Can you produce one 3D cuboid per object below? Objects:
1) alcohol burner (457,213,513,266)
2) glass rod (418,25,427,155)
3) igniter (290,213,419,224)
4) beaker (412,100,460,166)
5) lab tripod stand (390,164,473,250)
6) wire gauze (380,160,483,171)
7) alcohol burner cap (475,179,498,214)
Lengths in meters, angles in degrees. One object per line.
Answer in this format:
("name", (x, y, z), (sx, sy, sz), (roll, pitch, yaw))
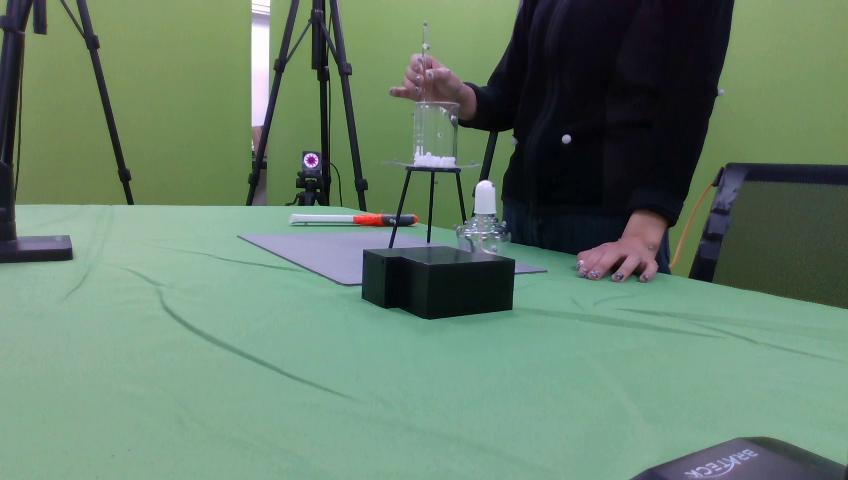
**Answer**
("alcohol burner", (0.084, -0.025, 0.837), (0.078, 0.119, 0.078), (0, 8, 0))
("glass rod", (-0.002, -0.233, 0.943), (0.008, 0.199, 0.008), (2, 5, 0))
("igniter", (-0.143, -0.046, 1.288), (0.278, 0.025, 0.057), (-1, -3, -24))
("beaker", (0.020, -0.167, 0.953), (0.073, 0.100, 0.084), (5, 9, 26))
("lab tripod stand", (0.011, -0.053, 0.960), (0.148, 0.131, 0.148), (2, 9, 0))
("wire gauze", (0.011, -0.119, 0.951), (0.122, 0.011, 0.124), (-5, 12, -32))
("alcohol burner cap", (0.086, -0.061, 0.833), (0.034, 0.048, 0.034), (-1, 11, 0))
